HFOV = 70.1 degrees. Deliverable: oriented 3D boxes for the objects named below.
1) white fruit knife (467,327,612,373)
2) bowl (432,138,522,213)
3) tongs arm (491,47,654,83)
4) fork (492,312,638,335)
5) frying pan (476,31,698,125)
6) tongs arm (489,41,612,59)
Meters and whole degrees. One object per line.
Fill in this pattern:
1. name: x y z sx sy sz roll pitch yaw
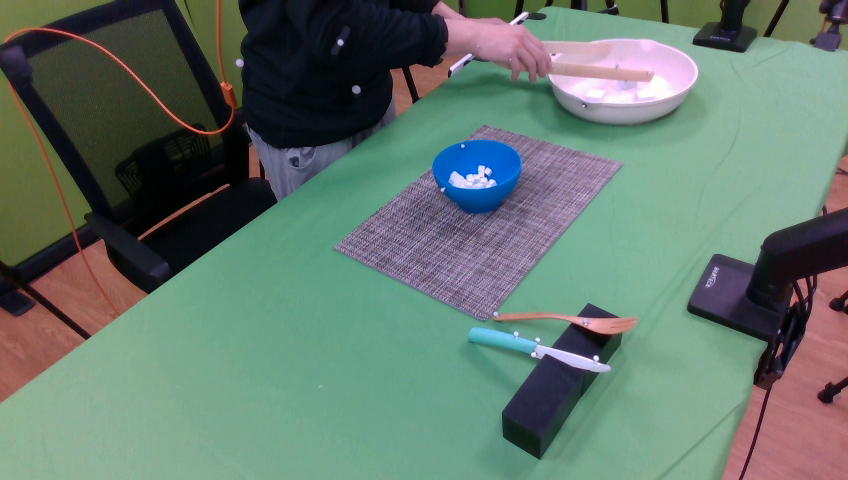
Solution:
1. white fruit knife: 0.134 0.134 0.742 0.205 0.027 0.016 7 35 41
2. bowl: 0.091 -0.100 1.021 0.151 0.077 0.150 -4 41 4
3. tongs arm: 0.296 -0.332 1.155 0.388 0.026 0.050 -6 45 -32
4. fork: 0.173 0.103 0.774 0.206 0.019 0.028 0 38 40
5. frying pan: 0.321 -0.371 1.290 0.484 0.103 0.307 29 51 24
6. tongs arm: 0.260 -0.376 1.197 0.390 0.028 0.028 -15 53 -39
